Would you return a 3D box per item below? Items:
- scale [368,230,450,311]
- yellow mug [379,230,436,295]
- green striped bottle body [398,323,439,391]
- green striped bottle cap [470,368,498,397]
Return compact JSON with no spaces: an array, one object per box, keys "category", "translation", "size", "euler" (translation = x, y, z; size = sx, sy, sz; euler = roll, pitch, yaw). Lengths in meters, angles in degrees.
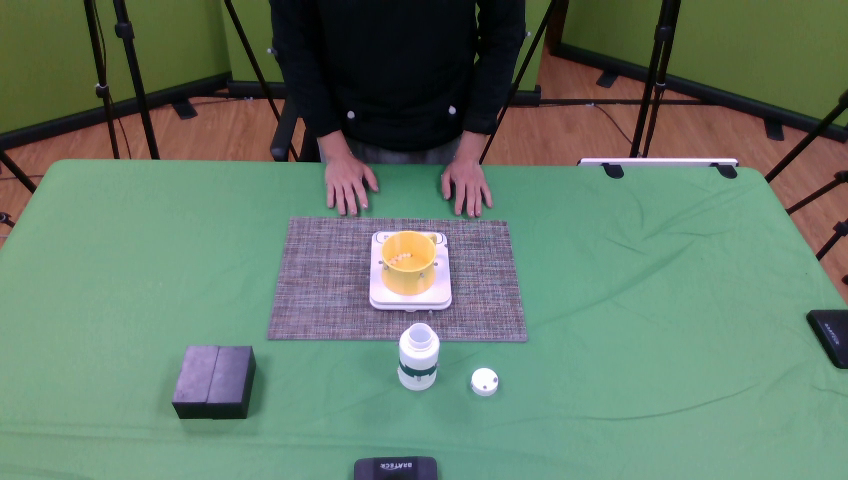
[{"category":"scale","translation":[-0.029,0.048,1.137],"size":[0.149,0.032,0.199],"euler":[1,46,-4]},{"category":"yellow mug","translation":[-0.020,0.030,1.089],"size":[0.099,0.064,0.130],"euler":[31,52,24]},{"category":"green striped bottle body","translation":[-0.010,0.181,0.956],"size":[0.063,0.120,0.063],"euler":[2,46,-2]},{"category":"green striped bottle cap","translation":[0.098,0.232,0.989],"size":[0.044,0.020,0.044],"euler":[2,42,-1]}]
